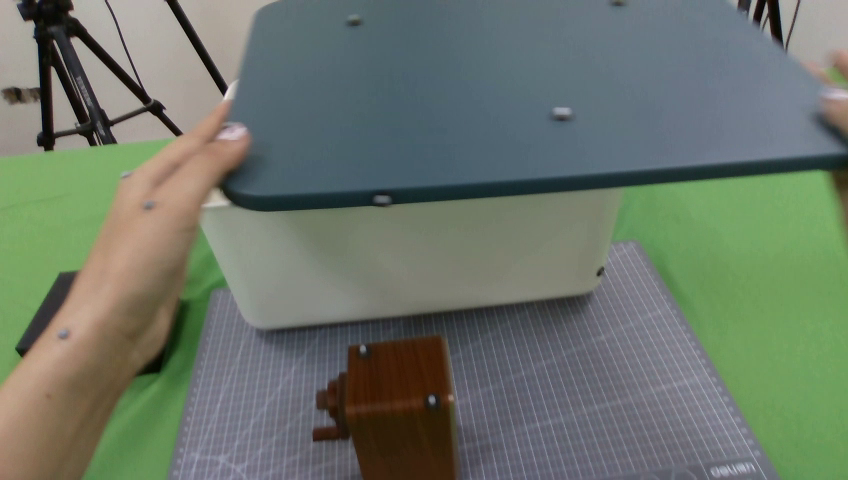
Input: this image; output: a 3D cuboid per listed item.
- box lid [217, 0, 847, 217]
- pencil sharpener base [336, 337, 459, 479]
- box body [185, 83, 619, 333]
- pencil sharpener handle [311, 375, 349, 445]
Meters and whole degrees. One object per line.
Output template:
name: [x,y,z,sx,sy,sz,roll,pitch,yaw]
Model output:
box lid: [0.060,-0.114,0.410,0.372,0.015,0.260,-5,43,-3]
pencil sharpener base: [-0.017,0.128,0.433,0.077,0.108,0.060,-6,40,-1]
box body: [-0.014,-0.057,0.618,0.364,0.162,0.251,-6,38,-2]
pencil sharpener handle: [-0.069,0.124,0.425,0.030,0.068,0.035,-6,42,-1]
